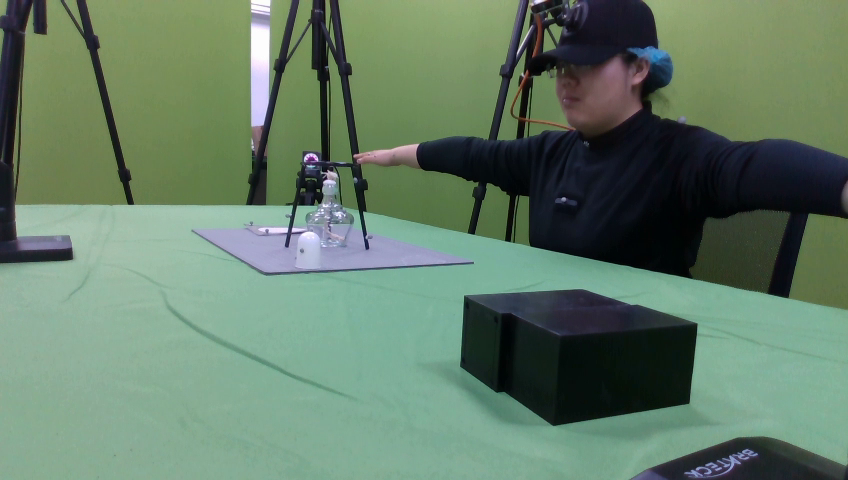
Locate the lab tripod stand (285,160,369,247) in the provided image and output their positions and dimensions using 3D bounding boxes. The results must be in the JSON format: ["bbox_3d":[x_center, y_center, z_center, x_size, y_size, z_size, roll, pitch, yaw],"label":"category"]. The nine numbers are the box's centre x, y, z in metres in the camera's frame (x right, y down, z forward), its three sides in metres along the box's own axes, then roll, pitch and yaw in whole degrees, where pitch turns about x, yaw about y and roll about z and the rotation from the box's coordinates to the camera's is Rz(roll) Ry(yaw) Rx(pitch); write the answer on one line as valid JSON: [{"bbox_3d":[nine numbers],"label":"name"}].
[{"bbox_3d":[-0.151,-0.058,0.947,0.148,0.131,0.148,1,6,0],"label":"lab tripod stand"}]

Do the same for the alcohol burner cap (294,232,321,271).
[{"bbox_3d":[-0.144,0.013,0.748,0.034,0.048,0.034,2,6,0],"label":"alcohol burner cap"}]

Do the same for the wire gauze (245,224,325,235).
[{"bbox_3d":[-0.256,-0.020,1.108,0.122,0.011,0.124,-1,6,-28],"label":"wire gauze"}]

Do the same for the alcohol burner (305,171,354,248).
[{"bbox_3d":[-0.148,-0.048,0.949,0.078,0.119,0.078,1,6,0],"label":"alcohol burner"}]
